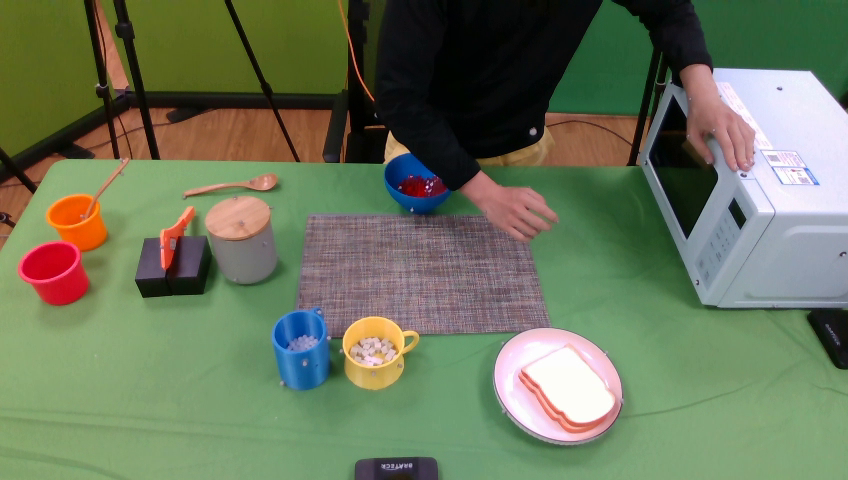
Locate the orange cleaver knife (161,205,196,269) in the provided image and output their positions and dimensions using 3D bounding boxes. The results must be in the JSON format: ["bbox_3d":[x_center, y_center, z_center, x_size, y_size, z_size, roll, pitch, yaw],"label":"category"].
[{"bbox_3d":[-0.454,-0.010,1.129,0.012,0.077,0.210,-2,20,-5],"label":"orange cleaver knife"}]

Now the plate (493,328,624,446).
[{"bbox_3d":[0.213,0.236,0.974,0.208,0.039,0.206,2,46,-2],"label":"plate"}]

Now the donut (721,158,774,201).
[{"bbox_3d":[0.648,-0.121,1.216,0.099,0.048,0.098,-3,56,4],"label":"donut"}]

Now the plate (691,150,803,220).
[{"bbox_3d":[0.653,-0.108,1.237,0.209,0.038,0.208,0,45,1],"label":"plate"}]

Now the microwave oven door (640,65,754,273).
[{"bbox_3d":[0.523,-0.147,1.194,0.039,0.245,0.353,1,46,-3],"label":"microwave oven door"}]

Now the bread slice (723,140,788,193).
[{"bbox_3d":[0.661,-0.148,1.201,0.107,0.018,0.133,0,53,9],"label":"bread slice"}]

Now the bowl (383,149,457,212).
[{"bbox_3d":[-0.009,-0.112,1.262,0.151,0.077,0.150,2,46,-2],"label":"bowl"}]

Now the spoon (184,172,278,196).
[{"bbox_3d":[-0.405,-0.116,1.275,0.194,0.022,0.041,-8,65,-12],"label":"spoon"}]

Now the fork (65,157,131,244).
[{"bbox_3d":[-0.609,-0.074,1.133,0.207,0.019,0.028,-52,51,10],"label":"fork"}]

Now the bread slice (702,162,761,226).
[{"bbox_3d":[0.647,-0.102,1.268,0.105,0.019,0.131,14,73,12],"label":"bread slice"}]

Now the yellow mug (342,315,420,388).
[{"bbox_3d":[-0.067,0.177,0.990,0.131,0.064,0.099,-16,50,-19],"label":"yellow mug"}]

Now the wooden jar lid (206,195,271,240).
[{"bbox_3d":[-0.319,-0.036,1.046,0.108,0.021,0.107,1,44,0],"label":"wooden jar lid"}]

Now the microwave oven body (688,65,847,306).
[{"bbox_3d":[0.669,-0.111,1.176,0.326,0.261,0.439,0,46,-3],"label":"microwave oven body"}]

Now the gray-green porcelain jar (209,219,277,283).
[{"bbox_3d":[-0.323,0.007,1.092,0.106,0.127,0.105,2,46,-2],"label":"gray-green porcelain jar"}]

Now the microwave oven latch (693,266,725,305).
[{"bbox_3d":[0.523,0.082,1.116,0.030,0.029,0.078,3,46,0],"label":"microwave oven latch"}]

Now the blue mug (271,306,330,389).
[{"bbox_3d":[-0.188,0.163,0.969,0.082,0.106,0.116,15,47,10],"label":"blue mug"}]
